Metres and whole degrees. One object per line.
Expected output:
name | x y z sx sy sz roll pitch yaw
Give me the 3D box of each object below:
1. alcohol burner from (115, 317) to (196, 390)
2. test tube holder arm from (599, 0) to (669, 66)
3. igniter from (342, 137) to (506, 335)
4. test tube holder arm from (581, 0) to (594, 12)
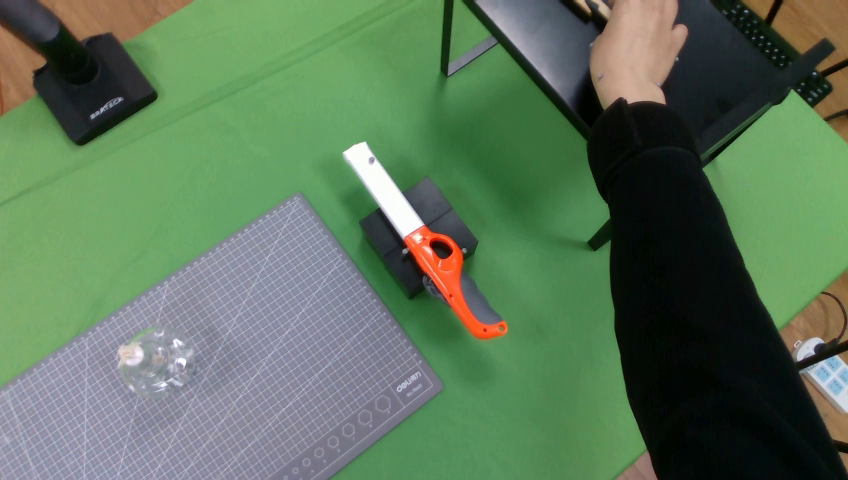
alcohol burner | -0.288 0.118 0.638 0.078 0.119 0.077 0 76 -1
test tube holder arm | 0.180 -0.240 0.614 0.178 0.015 0.013 45 116 9
igniter | -0.004 -0.006 0.678 0.057 0.025 0.275 -33 76 -13
test tube holder arm | 0.146 -0.268 0.623 0.087 0.015 0.010 47 116 8
